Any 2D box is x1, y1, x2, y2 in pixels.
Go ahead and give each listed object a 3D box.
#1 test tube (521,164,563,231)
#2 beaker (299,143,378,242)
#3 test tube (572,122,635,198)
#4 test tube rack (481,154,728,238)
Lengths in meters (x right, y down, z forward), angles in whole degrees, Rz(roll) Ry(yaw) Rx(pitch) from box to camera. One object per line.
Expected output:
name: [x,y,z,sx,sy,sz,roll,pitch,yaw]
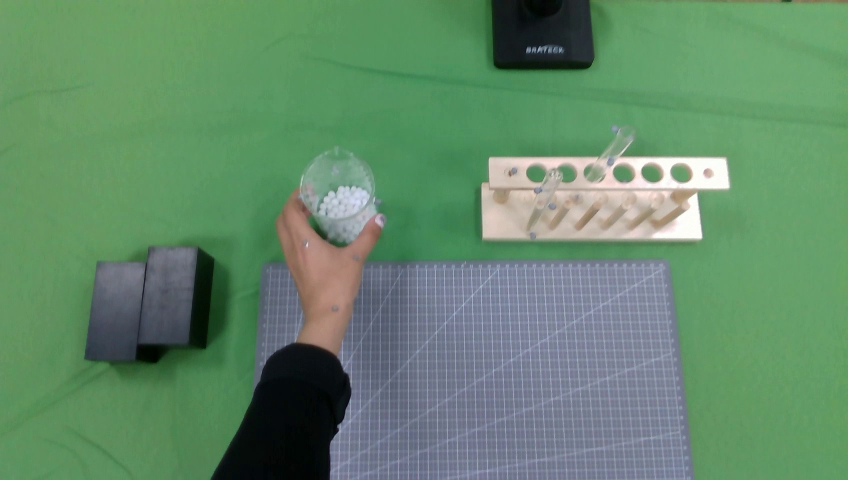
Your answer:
test tube: [0.115,-0.039,0.600,0.017,0.151,0.017,0,72,0]
beaker: [-0.086,-0.045,0.637,0.074,0.101,0.083,-4,74,-2]
test tube: [0.175,-0.075,0.605,0.017,0.151,0.017,1,72,-3]
test tube rack: [0.186,-0.045,0.648,0.242,0.085,0.066,0,75,-1]
